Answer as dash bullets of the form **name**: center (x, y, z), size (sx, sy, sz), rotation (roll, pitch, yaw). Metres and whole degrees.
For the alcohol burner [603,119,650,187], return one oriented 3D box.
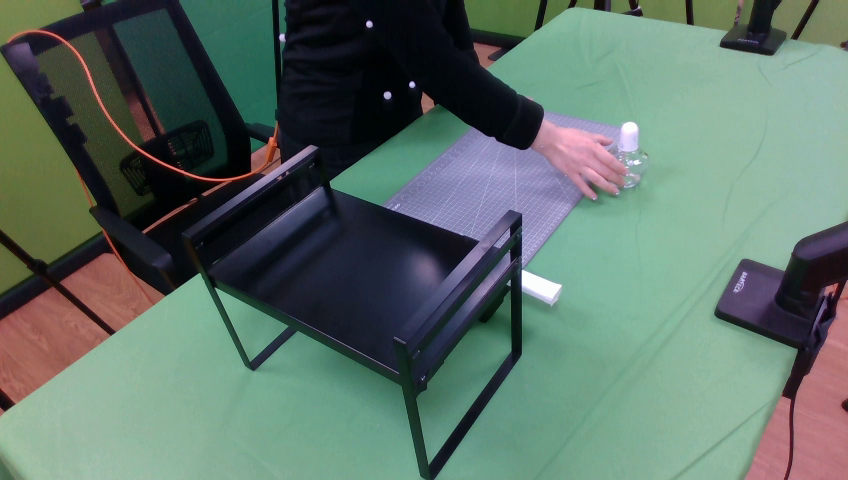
- **alcohol burner**: center (0.347, -0.151, 1.030), size (0.078, 0.119, 0.077), rotation (-4, 39, 4)

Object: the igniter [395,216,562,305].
- **igniter**: center (0.066, 0.023, 0.864), size (0.274, 0.025, 0.057), rotation (24, 48, 28)

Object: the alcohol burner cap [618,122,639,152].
- **alcohol burner cap**: center (0.342, -0.173, 1.009), size (0.034, 0.048, 0.033), rotation (-4, 38, 4)
